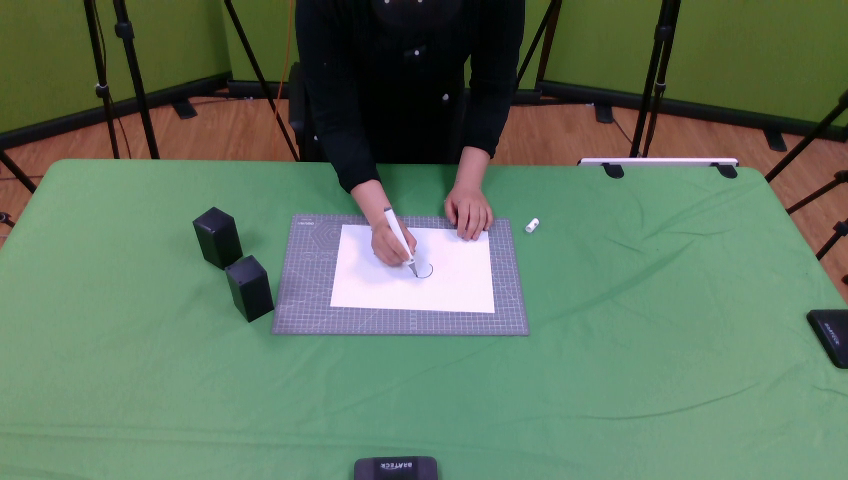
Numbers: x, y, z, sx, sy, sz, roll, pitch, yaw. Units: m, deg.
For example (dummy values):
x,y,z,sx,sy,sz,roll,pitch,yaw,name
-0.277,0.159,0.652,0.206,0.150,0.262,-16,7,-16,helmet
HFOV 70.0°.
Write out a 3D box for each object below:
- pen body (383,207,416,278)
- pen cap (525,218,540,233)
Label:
x,y,z,sx,sy,sz,roll,pitch,yaw,name
-0.042,0.007,1.123,0.017,0.144,0.017,-22,14,6,pen body
0.224,-0.031,1.248,0.017,0.017,0.038,30,51,23,pen cap
